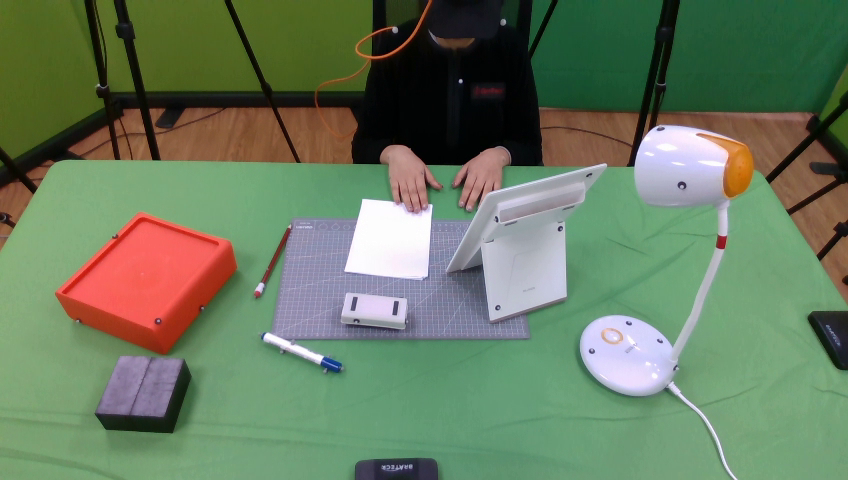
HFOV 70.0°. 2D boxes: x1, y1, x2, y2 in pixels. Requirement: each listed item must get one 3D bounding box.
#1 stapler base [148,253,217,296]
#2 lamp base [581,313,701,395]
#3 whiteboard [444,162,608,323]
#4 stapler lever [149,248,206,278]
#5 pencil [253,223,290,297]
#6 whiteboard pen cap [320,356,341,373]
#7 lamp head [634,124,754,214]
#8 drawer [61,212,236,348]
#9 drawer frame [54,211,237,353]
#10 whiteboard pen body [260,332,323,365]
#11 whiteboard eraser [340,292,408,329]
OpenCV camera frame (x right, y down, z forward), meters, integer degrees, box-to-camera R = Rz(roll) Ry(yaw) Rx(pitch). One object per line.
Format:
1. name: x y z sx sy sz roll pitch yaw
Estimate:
1. stapler base: -0.443 0.059 1.109 0.130 0.024 0.041 24 50 11
2. lamp base: 0.361 0.144 0.973 0.178 0.181 0.160 34 53 23
3. whiteboard: 0.186 0.026 1.028 0.217 0.306 0.143 -14 68 -17
4. stapler lever: -0.442 0.037 1.084 0.118 0.040 0.027 19 49 17
5. pencil: -0.286 0.033 1.151 0.012 0.012 0.193 9 46 4
6. whiteboard pen cap: -0.154 0.203 0.992 0.033 0.018 0.018 21 48 12
7. lamp head: 0.351 -0.089 0.776 0.112 0.113 0.122 -30 30 -28
8. drawer: -0.473 0.064 1.060 0.194 0.073 0.211 18 48 11
9. drawer frame: -0.473 0.067 1.055 0.201 0.083 0.212 17 48 11
10. whiteboard pen body: -0.208 0.184 1.003 0.140 0.017 0.017 20 48 12
11. whiteboard eraser: -0.087 0.125 1.052 0.113 0.042 0.055 5 45 1
